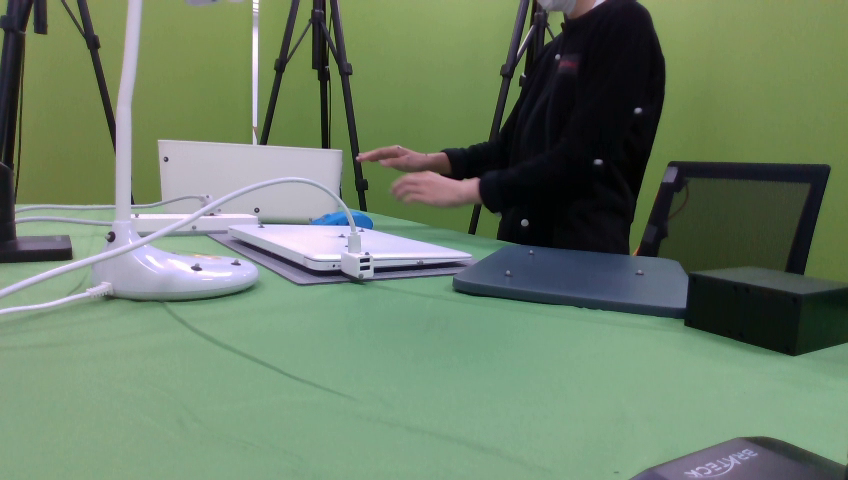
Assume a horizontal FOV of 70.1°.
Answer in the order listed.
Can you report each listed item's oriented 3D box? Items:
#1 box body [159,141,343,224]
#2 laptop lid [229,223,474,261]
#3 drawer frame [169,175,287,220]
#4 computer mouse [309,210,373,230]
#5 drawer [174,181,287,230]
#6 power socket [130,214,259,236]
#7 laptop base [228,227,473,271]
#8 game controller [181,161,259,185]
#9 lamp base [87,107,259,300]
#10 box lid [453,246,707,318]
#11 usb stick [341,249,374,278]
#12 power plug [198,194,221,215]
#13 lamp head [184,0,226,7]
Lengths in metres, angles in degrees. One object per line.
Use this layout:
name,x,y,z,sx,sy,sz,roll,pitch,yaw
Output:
box body,-0.365,-0.128,1.337,0.365,0.160,0.253,1,7,-8
laptop lid,-0.121,0.000,0.888,0.243,0.013,0.355,1,7,-33
drawer frame,-0.415,-0.096,1.318,0.214,0.082,0.201,-5,6,-9
computer mouse,-0.157,-0.034,1.139,0.118,0.041,0.062,-6,12,-28
drawer,-0.412,-0.077,1.323,0.212,0.073,0.194,-9,10,-8
power socket,-0.397,-0.028,1.048,0.228,0.032,0.072,-3,7,-35
laptop base,-0.124,0.011,0.889,0.237,0.023,0.352,2,6,-35
game controller,-0.444,-0.144,1.306,0.156,0.051,0.096,-3,5,-34
lamp base,-0.254,-0.039,0.603,0.160,0.180,0.179,5,10,18
box lid,0.204,0.044,0.780,0.262,0.015,0.372,5,7,17
usb stick,-0.079,0.026,0.686,0.021,0.027,0.059,-7,9,-30
power plug,-0.386,-0.055,1.088,0.035,0.052,0.072,-2,7,-24
lamp head,-0.229,-0.320,0.627,0.112,0.112,0.123,6,-36,26
